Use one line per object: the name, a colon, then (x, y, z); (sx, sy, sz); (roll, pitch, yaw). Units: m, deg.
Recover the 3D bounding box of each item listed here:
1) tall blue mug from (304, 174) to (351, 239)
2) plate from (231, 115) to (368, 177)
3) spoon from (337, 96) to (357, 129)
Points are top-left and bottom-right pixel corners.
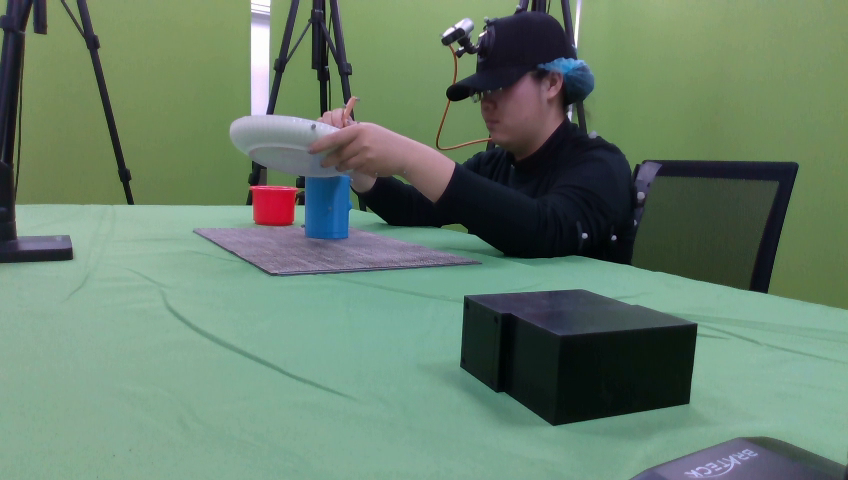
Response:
tall blue mug: (-0.178, -0.062, 1.062); (0.078, 0.108, 0.106); (-5, 11, -38)
plate: (-0.193, -0.136, 0.939); (0.208, 0.039, 0.208); (6, -10, 1)
spoon: (-0.157, -0.190, 1.062); (0.041, 0.022, 0.193); (2, 48, 23)
